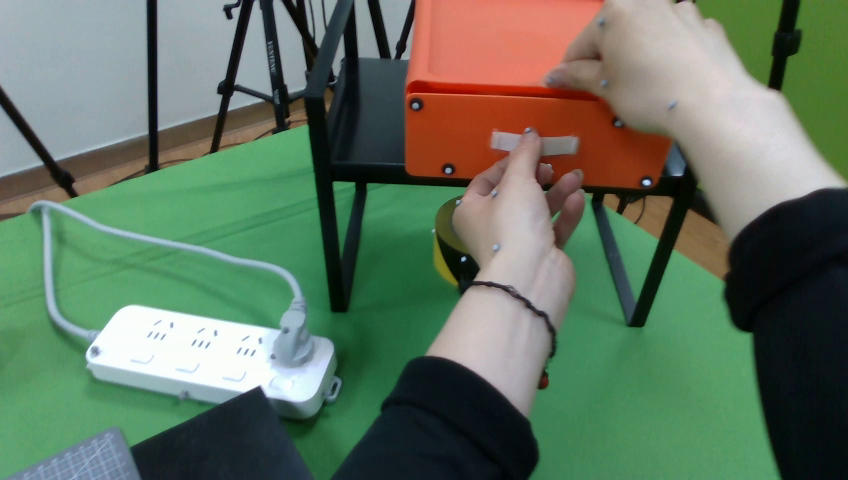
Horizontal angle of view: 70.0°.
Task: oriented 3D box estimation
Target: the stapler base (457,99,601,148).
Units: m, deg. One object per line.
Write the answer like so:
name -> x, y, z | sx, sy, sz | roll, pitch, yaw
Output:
stapler base -> 0.092, -0.102, 0.511 | 0.131, 0.024, 0.041 | -9, 47, -24

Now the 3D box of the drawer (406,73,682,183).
drawer -> 0.089, -0.139, 0.518 | 0.194, 0.074, 0.209 | 3, 41, 1

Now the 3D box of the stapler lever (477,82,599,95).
stapler lever -> 0.097, -0.121, 0.496 | 0.118, 0.040, 0.026 | -10, 47, -24

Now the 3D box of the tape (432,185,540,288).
tape -> 0.067, -0.006, 0.659 | 0.117, 0.053, 0.115 | 2, 42, -1

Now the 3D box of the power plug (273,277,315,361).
power plug -> -0.106, 0.076, 0.537 | 0.035, 0.053, 0.072 | 17, 44, 15

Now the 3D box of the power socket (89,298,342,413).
power socket -> -0.185, 0.101, 0.540 | 0.226, 0.033, 0.071 | 9, 41, 8

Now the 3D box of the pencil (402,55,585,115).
pencil -> 0.067, -0.142, 0.557 | 0.194, 0.012, 0.012 | -21, 46, -18

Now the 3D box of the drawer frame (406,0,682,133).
drawer frame -> 0.089, -0.155, 0.534 | 0.202, 0.083, 0.211 | 2, 41, 0
